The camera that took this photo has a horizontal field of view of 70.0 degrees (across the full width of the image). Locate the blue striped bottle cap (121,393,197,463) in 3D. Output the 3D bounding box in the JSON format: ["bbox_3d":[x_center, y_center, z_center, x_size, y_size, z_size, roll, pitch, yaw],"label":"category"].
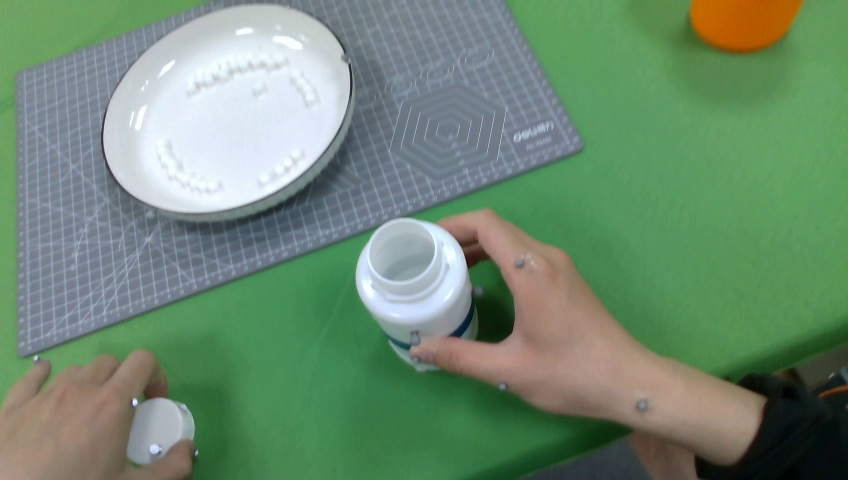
[{"bbox_3d":[-0.176,0.125,0.404,0.044,0.021,0.044,-3,67,7],"label":"blue striped bottle cap"}]

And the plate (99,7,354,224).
[{"bbox_3d":[-0.156,-0.101,0.495,0.207,0.039,0.206,-3,64,7],"label":"plate"}]

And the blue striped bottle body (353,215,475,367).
[{"bbox_3d":[-0.004,0.031,0.364,0.063,0.122,0.062,-3,63,7],"label":"blue striped bottle body"}]
